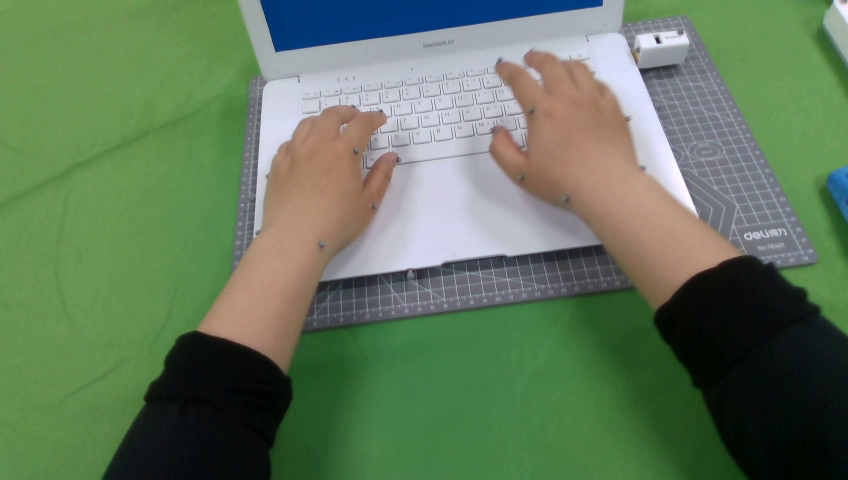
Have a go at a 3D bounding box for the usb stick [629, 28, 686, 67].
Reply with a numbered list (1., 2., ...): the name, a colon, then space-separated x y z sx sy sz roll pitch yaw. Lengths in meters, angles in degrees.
1. usb stick: 0.208 -0.177 0.562 0.059 0.027 0.021 -8 56 5

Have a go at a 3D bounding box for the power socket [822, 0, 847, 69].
1. power socket: 0.418 -0.142 0.521 0.072 0.033 0.224 -4 56 4

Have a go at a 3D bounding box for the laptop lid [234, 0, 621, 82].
1. laptop lid: 0.000 -0.261 0.516 0.357 0.244 0.013 -9 43 2

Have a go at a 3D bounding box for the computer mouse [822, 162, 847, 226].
1. computer mouse: 0.350 -0.019 0.445 0.063 0.041 0.116 -8 51 4

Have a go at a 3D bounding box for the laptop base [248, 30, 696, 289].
1. laptop base: 0.026 -0.079 0.532 0.354 0.023 0.233 -8 59 1
